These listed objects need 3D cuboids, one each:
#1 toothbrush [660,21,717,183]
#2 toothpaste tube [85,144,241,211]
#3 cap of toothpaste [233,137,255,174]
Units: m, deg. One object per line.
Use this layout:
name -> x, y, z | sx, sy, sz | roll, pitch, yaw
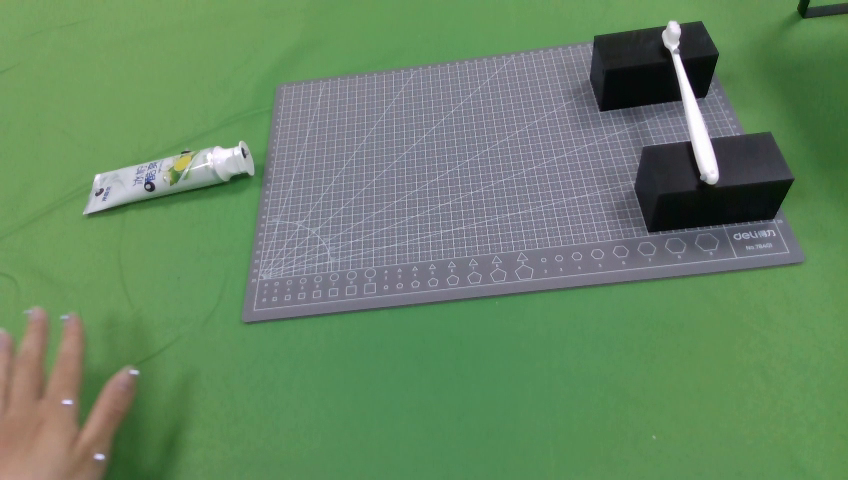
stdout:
toothbrush -> 0.218, -0.120, 0.501 | 0.014, 0.017, 0.180 | 5, 56, -3
toothpaste tube -> -0.254, -0.067, 0.598 | 0.165, 0.035, 0.054 | -12, 48, 6
cap of toothpaste -> -0.176, -0.082, 0.588 | 0.011, 0.038, 0.037 | -14, 54, 0
